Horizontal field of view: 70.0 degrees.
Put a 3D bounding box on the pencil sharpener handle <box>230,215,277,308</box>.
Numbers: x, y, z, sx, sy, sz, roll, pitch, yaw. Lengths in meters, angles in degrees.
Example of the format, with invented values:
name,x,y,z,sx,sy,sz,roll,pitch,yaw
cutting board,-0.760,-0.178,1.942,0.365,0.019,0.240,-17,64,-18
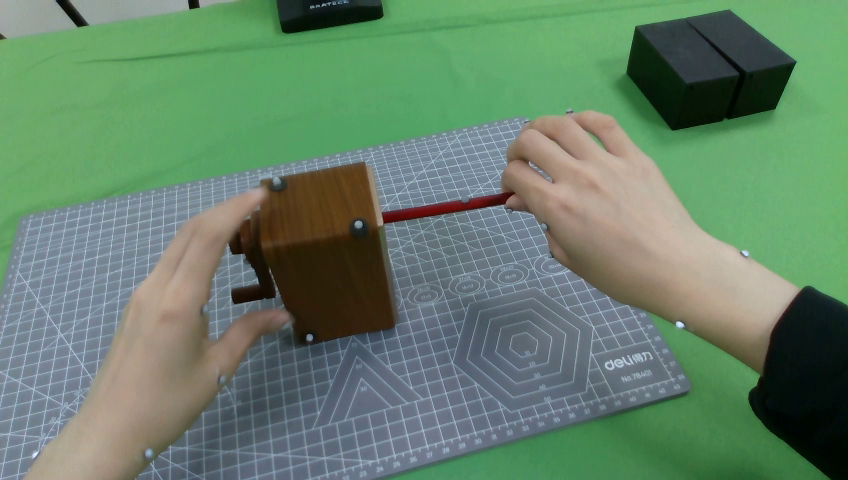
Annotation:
name,x,y,z,sx,sy,sz,roll,pitch,yaw
pencil sharpener handle,-0.112,0.017,0.380,0.031,0.068,0.035,-11,42,-5

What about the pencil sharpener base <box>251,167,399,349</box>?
name,x,y,z,sx,sy,sz,roll,pitch,yaw
pencil sharpener base,-0.062,0.015,0.395,0.077,0.108,0.060,-11,48,-5

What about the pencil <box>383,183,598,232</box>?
name,x,y,z,sx,sy,sz,roll,pitch,yaw
pencil,0.017,-0.016,0.383,0.194,0.012,0.012,-10,47,-5
